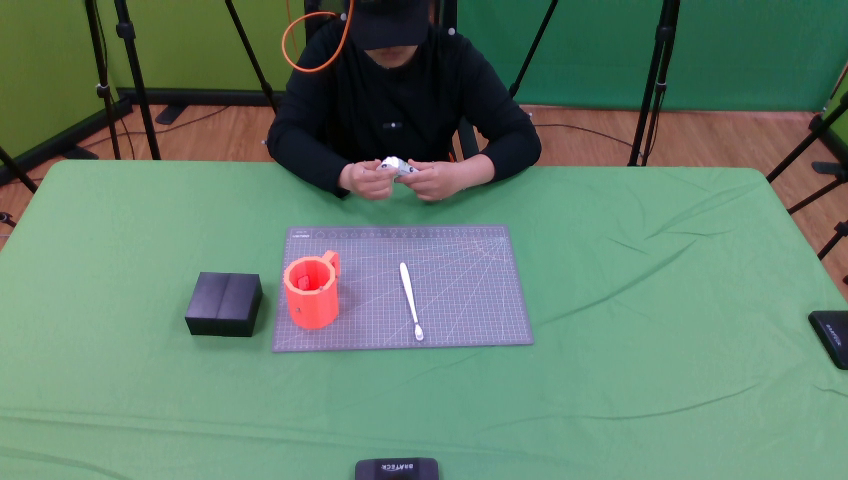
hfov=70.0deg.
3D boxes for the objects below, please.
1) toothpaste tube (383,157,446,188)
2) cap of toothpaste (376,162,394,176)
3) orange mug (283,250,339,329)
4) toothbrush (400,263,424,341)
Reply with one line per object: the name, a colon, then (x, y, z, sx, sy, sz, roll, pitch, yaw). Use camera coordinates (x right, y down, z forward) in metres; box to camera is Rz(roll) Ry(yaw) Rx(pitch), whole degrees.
toothpaste tube: (-0.022, -0.137, 1.237, 0.166, 0.034, 0.054, 13, 25, -48)
cap of toothpaste: (-0.076, -0.138, 1.163, 0.037, 0.037, 0.011, -12, 61, -14)
orange mug: (-0.186, 0.079, 1.052, 0.083, 0.101, 0.126, 20, 52, 15)
toothbrush: (-0.025, 0.106, 1.093, 0.014, 0.017, 0.180, -17, 46, 1)
